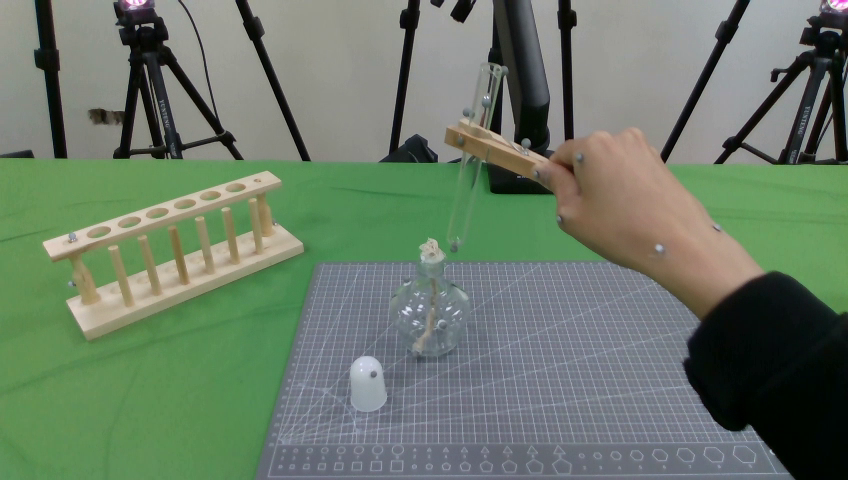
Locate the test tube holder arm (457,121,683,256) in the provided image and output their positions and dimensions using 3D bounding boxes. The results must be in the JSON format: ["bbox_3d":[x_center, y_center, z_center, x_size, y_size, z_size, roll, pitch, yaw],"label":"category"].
[{"bbox_3d":[0.089,-0.039,0.405,0.177,0.015,0.013,34,41,29],"label":"test tube holder arm"}]

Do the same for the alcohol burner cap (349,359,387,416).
[{"bbox_3d":[-0.049,0.123,0.518,0.034,0.048,0.033,1,33,0],"label":"alcohol burner cap"}]

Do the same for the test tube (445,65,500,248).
[{"bbox_3d":[0.033,-0.055,0.446,0.017,0.151,0.017,6,37,-4],"label":"test tube"}]

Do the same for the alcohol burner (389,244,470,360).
[{"bbox_3d":[0.005,0.053,0.562,0.078,0.120,0.077,1,34,0],"label":"alcohol burner"}]

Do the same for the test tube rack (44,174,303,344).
[{"bbox_3d":[-0.258,0.012,0.658,0.243,0.086,0.066,-24,40,-33],"label":"test tube rack"}]

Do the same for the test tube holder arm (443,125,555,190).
[{"bbox_3d":[0.052,-0.058,0.421,0.087,0.015,0.010,28,38,22],"label":"test tube holder arm"}]
